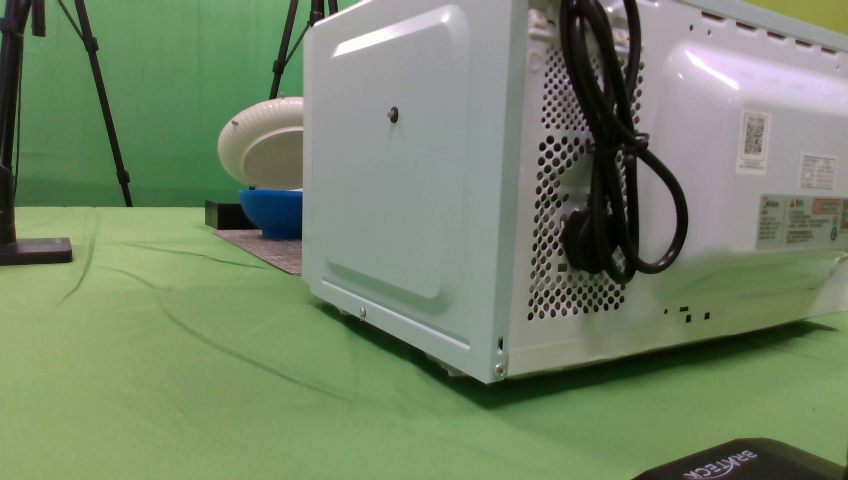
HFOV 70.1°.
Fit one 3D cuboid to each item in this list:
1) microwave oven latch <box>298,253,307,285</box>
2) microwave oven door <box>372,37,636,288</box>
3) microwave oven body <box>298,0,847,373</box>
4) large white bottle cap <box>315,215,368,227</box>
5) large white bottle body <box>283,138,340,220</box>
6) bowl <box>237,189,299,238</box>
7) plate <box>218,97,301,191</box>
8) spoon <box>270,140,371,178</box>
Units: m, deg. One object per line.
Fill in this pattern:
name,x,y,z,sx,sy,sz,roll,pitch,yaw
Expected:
microwave oven latch,-0.081,0.027,0.582,0.079,0.029,0.030,-1,7,-32
microwave oven door,0.110,-0.080,0.686,0.358,0.243,0.039,-2,9,-33
microwave oven body,0.151,-0.055,0.542,0.444,0.260,0.324,-2,7,-33
large white bottle cap,-0.177,-0.041,1.309,0.115,0.018,0.115,2,6,0
large white bottle body,-0.265,-0.144,1.424,0.131,0.184,0.130,2,7,0
bowl,-0.245,-0.046,1.053,0.151,0.077,0.151,3,7,0
plate,-0.205,-0.135,0.930,0.209,0.038,0.209,-16,-26,-7
spoon,-0.170,-0.143,1.022,0.194,0.041,0.021,-20,3,-29
